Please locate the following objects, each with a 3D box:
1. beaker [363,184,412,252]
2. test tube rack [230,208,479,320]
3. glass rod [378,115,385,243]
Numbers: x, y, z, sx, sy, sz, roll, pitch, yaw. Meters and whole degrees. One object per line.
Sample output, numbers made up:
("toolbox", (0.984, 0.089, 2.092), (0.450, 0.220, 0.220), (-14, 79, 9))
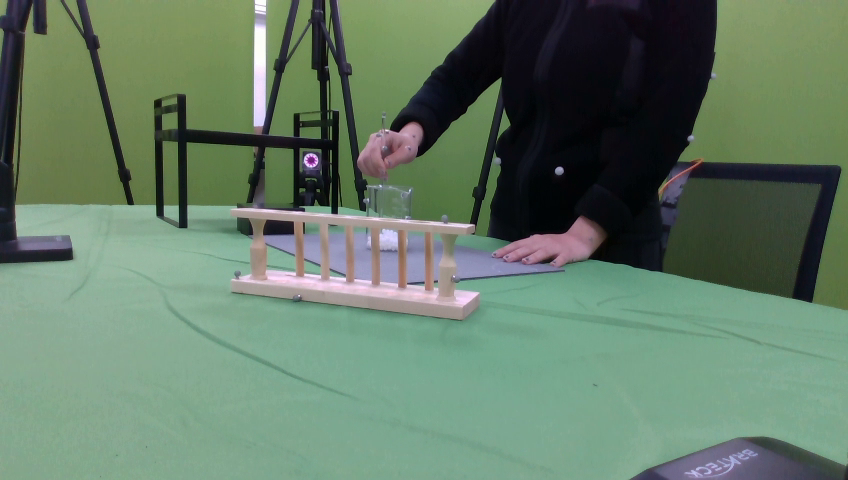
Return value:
("beaker", (-0.055, -0.034, 0.935), (0.074, 0.100, 0.083), (-5, 11, -44))
("test tube rack", (-0.069, 0.017, 0.598), (0.242, 0.085, 0.067), (5, 8, 18))
("glass rod", (-0.067, -0.093, 0.941), (0.008, 0.199, 0.008), (2, 9, 0))
